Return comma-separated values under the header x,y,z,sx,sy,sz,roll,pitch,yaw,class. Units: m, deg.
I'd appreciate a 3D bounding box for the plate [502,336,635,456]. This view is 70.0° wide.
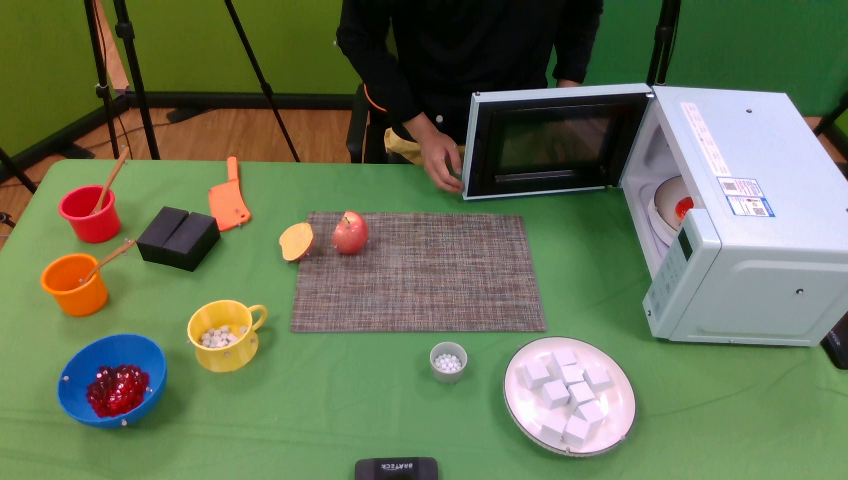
x,y,z,sx,sy,sz,roll,pitch,yaw,class
0.225,0.248,0.964,0.208,0.039,0.206,2,46,-2,plate

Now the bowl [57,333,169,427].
x,y,z,sx,sy,sz,roll,pitch,yaw,class
-0.456,0.223,0.912,0.151,0.077,0.150,3,45,-2,bowl

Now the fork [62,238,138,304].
x,y,z,sx,sy,sz,roll,pitch,yaw,class
-0.547,0.053,1.018,0.207,0.019,0.028,-36,41,23,fork

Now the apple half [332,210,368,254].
x,y,z,sx,sy,sz,roll,pitch,yaw,class
-0.136,-0.010,1.158,0.053,0.075,0.080,17,43,8,apple half

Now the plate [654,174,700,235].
x,y,z,sx,sy,sz,roll,pitch,yaw,class
0.554,-0.049,1.186,0.209,0.038,0.208,2,46,-1,plate

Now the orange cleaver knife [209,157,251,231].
x,y,z,sx,sy,sz,roll,pitch,yaw,class
-0.409,-0.099,1.266,0.077,0.012,0.210,-14,50,-10,orange cleaver knife

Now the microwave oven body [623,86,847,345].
x,y,z,sx,sy,sz,roll,pitch,yaw,class
0.567,-0.053,1.118,0.326,0.261,0.439,2,45,-1,microwave oven body

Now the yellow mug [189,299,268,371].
x,y,z,sx,sy,sz,roll,pitch,yaw,class
-0.316,0.148,1.002,0.131,0.064,0.099,-33,56,-31,yellow mug

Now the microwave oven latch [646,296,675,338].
x,y,z,sx,sy,sz,roll,pitch,yaw,class
0.412,0.134,1.061,0.030,0.029,0.078,3,45,0,microwave oven latch

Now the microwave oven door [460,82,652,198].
x,y,z,sx,sy,sz,roll,pitch,yaw,class
0.260,-0.200,1.232,0.356,0.245,0.039,-5,47,-9,microwave oven door

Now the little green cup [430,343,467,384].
x,y,z,sx,sy,sz,roll,pitch,yaw,class
0.039,0.203,0.994,0.061,0.039,0.061,2,46,-2,little green cup

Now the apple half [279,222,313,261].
x,y,z,sx,sy,sz,roll,pitch,yaw,class
-0.237,0.007,1.157,0.081,0.033,0.081,-14,58,23,apple half

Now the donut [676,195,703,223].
x,y,z,sx,sy,sz,roll,pitch,yaw,class
0.538,-0.049,1.171,0.099,0.048,0.098,2,44,-1,donut

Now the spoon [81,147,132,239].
x,y,z,sx,sy,sz,roll,pitch,yaw,class
-0.603,-0.089,1.156,0.041,0.022,0.193,28,94,18,spoon
